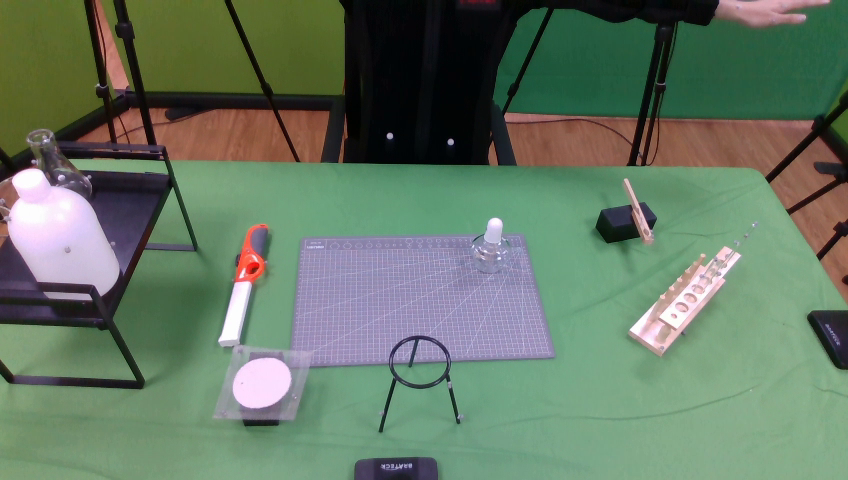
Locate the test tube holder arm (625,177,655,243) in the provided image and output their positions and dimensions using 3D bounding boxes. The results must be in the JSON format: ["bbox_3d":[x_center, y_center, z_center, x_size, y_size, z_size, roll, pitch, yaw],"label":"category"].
[{"bbox_3d":[0.433,-0.063,1.220,0.013,0.015,0.177,1,47,-3],"label":"test tube holder arm"}]

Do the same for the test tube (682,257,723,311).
[{"bbox_3d":[0.475,0.080,1.037,0.017,0.151,0.017,1,50,-1],"label":"test tube"}]

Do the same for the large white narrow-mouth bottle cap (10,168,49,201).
[{"bbox_3d":[-0.479,-0.067,0.738,0.038,0.024,0.037,2,46,-2],"label":"large white narrow-mouth bottle cap"}]

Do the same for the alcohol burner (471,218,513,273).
[{"bbox_3d":[0.128,0.005,1.132,0.078,0.120,0.077,0,47,0],"label":"alcohol burner"}]

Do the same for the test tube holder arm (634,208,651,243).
[{"bbox_3d":[0.428,-0.030,1.189,0.010,0.015,0.087,1,47,-2],"label":"test tube holder arm"}]

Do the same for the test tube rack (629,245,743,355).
[{"bbox_3d":[0.474,0.095,1.091,0.242,0.085,0.066,-34,56,-31],"label":"test tube rack"}]

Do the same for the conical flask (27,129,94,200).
[{"bbox_3d":[-0.575,-0.113,0.946,0.075,0.122,0.075,2,46,-2],"label":"conical flask"}]

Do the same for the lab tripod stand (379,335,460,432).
[{"bbox_3d":[-0.011,0.214,0.911,0.148,0.132,0.147,1,45,0],"label":"lab tripod stand"}]

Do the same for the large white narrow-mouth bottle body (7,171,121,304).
[{"bbox_3d":[-0.482,-0.008,0.800,0.102,0.195,0.101,2,46,-2],"label":"large white narrow-mouth bottle body"}]

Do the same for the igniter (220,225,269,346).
[{"bbox_3d":[-0.323,0.072,1.100,0.057,0.025,0.274,-6,46,5],"label":"igniter"}]

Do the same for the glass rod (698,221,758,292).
[{"bbox_3d":[0.527,0.035,1.060,0.008,0.200,0.008,5,49,-6],"label":"glass rod"}]

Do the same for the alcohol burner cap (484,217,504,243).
[{"bbox_3d":[0.130,-0.021,1.107,0.034,0.048,0.033,4,40,-3],"label":"alcohol burner cap"}]

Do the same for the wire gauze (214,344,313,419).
[{"bbox_3d":[-0.241,0.213,0.916,0.121,0.011,0.124,5,46,1],"label":"wire gauze"}]

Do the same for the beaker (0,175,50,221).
[{"bbox_3d":[-0.569,-0.035,0.886,0.074,0.101,0.083,-12,48,-14],"label":"beaker"}]
